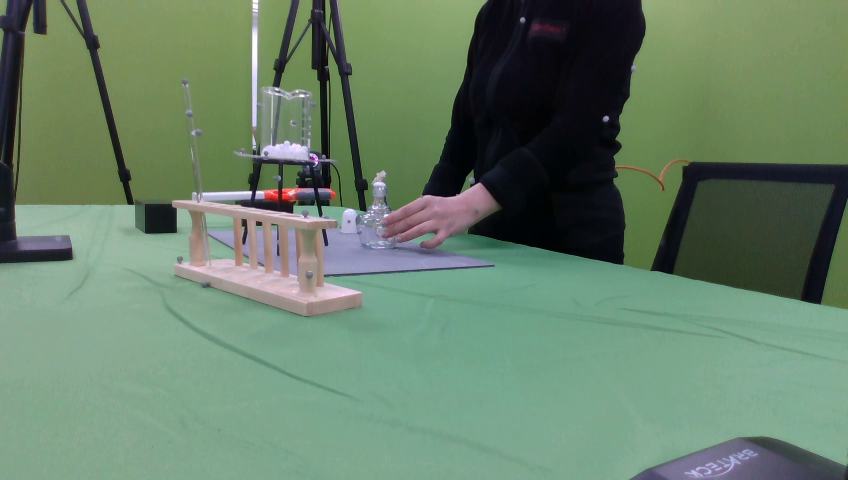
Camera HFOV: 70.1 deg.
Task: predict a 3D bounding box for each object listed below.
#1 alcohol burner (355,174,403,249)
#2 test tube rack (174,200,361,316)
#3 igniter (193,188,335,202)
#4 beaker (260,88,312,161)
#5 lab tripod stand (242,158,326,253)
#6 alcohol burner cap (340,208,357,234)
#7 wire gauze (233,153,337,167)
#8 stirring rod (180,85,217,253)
[{"bbox_3d":[-0.071,-0.046,0.960,0.078,0.119,0.078,1,6,0],"label":"alcohol burner"},{"bbox_3d":[-0.169,0.009,0.622,0.241,0.085,0.067,9,9,41],"label":"test tube rack"},{"bbox_3d":[-0.312,-0.089,1.209,0.278,0.025,0.057,-5,13,-31],"label":"igniter"},{"bbox_3d":[-0.200,-0.166,0.876,0.074,0.100,0.083,1,7,-18],"label":"beaker"},{"bbox_3d":[-0.207,-0.054,0.895,0.148,0.131,0.148,3,5,0],"label":"lab tripod stand"},{"bbox_3d":[-0.142,-0.035,1.136,0.034,0.048,0.034,3,7,0],"label":"alcohol burner cap"},{"bbox_3d":[-0.205,-0.119,0.887,0.122,0.011,0.124,2,4,-32],"label":"wire gauze"},{"bbox_3d":[-0.236,-0.073,0.634,0.006,0.176,0.014,1,10,42],"label":"stirring rod"}]
